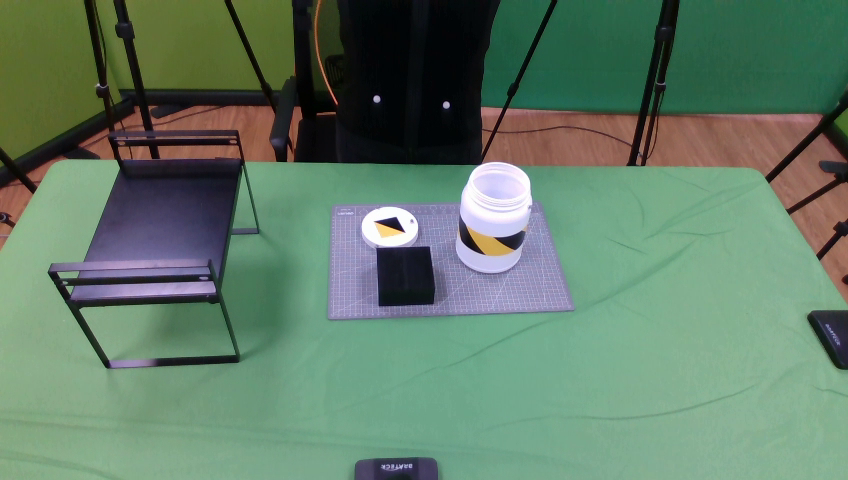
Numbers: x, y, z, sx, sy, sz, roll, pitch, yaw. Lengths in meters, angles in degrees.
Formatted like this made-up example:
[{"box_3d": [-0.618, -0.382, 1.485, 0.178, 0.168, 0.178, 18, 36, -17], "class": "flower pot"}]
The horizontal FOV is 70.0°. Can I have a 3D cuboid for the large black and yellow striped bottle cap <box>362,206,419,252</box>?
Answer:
[{"box_3d": [-0.067, -0.024, 1.214, 0.115, 0.019, 0.114, 1, 47, -1], "class": "large black and yellow striped bottle cap"}]

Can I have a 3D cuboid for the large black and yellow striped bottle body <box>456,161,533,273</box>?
[{"box_3d": [0.131, -0.042, 1.129, 0.131, 0.185, 0.130, 2, 46, -2], "class": "large black and yellow striped bottle body"}]
